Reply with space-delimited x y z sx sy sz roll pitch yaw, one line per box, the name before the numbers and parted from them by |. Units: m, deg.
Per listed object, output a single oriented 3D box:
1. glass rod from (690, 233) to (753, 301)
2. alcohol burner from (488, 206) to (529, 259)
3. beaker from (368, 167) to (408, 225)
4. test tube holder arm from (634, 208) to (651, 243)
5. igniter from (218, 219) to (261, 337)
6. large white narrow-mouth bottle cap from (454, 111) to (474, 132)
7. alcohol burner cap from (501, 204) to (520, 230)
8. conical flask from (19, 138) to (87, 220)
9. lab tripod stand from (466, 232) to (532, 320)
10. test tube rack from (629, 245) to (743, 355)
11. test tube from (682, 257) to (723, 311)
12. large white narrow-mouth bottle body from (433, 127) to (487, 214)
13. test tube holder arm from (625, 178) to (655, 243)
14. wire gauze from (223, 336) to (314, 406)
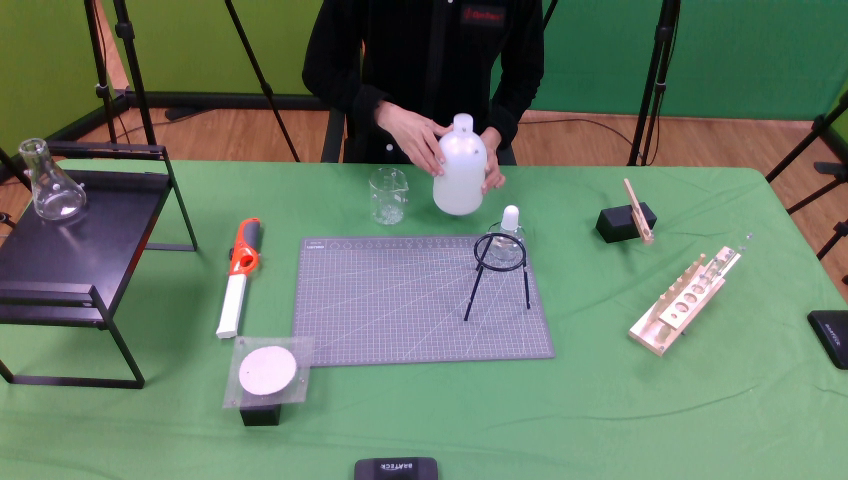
glass rod | 0.507 0.053 1.041 0.008 0.200 0.008 5 51 -6
alcohol burner | 0.163 -0.020 1.158 0.078 0.120 0.077 0 47 0
beaker | -0.070 -0.085 1.220 0.084 0.101 0.074 21 49 15
test tube holder arm | 0.428 -0.030 1.189 0.010 0.015 0.087 1 47 -2
igniter | -0.336 0.060 1.111 0.057 0.025 0.274 -8 46 3
large white narrow-mouth bottle cap | 0.073 -0.214 1.093 0.038 0.024 0.037 1 44 -1
alcohol burner cap | 0.164 -0.046 1.133 0.034 0.048 0.033 2 40 -2
conical flask | -0.576 -0.097 0.930 0.075 0.122 0.075 2 46 -2
lab tripod stand | 0.125 0.059 1.065 0.148 0.132 0.147 1 45 0
test tube rack | 0.474 0.095 1.091 0.242 0.085 0.066 -34 56 -31
test tube | 0.475 0.080 1.037 0.017 0.151 0.017 1 51 -1
large white narrow-mouth bottle body | 0.070 -0.150 1.156 0.102 0.195 0.101 1 44 -1
test tube holder arm | 0.433 -0.062 1.220 0.013 0.015 0.177 1 47 -3
wire gauze | -0.237 0.197 0.931 0.121 0.011 0.124 1 45 -4
